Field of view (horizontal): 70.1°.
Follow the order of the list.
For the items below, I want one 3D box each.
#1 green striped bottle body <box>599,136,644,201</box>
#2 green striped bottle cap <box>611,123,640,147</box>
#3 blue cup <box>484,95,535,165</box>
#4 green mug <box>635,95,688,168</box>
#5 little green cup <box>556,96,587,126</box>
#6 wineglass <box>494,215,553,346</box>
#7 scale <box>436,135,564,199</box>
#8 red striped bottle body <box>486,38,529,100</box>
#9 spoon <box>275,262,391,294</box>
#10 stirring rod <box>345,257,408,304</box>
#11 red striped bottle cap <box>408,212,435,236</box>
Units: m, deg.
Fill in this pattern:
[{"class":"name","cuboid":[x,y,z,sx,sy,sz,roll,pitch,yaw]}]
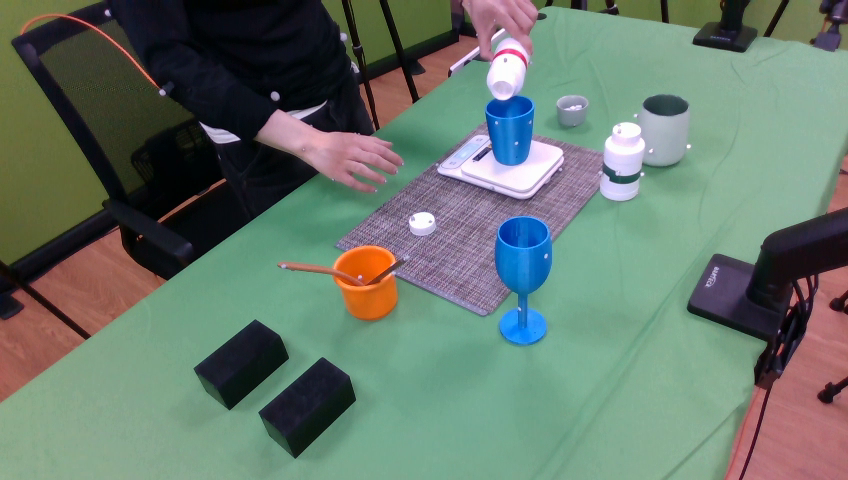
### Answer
[{"class":"green striped bottle body","cuboid":[0.326,-0.128,0.997,0.063,0.120,0.063,-4,41,4]},{"class":"green striped bottle cap","cuboid":[0.322,-0.168,0.963,0.044,0.020,0.044,-3,42,3]},{"class":"blue cup","cuboid":[0.150,-0.188,1.053,0.092,0.100,0.092,-6,39,5]},{"class":"green mug","cuboid":[0.421,-0.201,1.081,0.092,0.105,0.125,5,42,15]},{"class":"little green cup","cuboid":[0.295,-0.258,1.214,0.061,0.039,0.061,-4,42,4]},{"class":"wineglass","cuboid":[0.127,0.055,0.770,0.074,0.173,0.073,-4,40,4]},{"class":"scale","cuboid":[0.137,-0.142,1.101,0.199,0.032,0.149,22,48,30]},{"class":"red striped bottle body","cuboid":[0.143,-0.291,1.044,0.063,0.063,0.119,5,48,14]},{"class":"spoon","cuboid":[-0.120,0.050,0.830,0.041,0.195,0.021,31,97,45]},{"class":"stirring rod","cuboid":[-0.067,0.057,0.815,0.014,0.175,0.006,-24,82,-38]},{"class":"red striped bottle cap","cuboid":[-0.004,-0.027,0.999,0.044,0.018,0.044,-4,45,5]}]
